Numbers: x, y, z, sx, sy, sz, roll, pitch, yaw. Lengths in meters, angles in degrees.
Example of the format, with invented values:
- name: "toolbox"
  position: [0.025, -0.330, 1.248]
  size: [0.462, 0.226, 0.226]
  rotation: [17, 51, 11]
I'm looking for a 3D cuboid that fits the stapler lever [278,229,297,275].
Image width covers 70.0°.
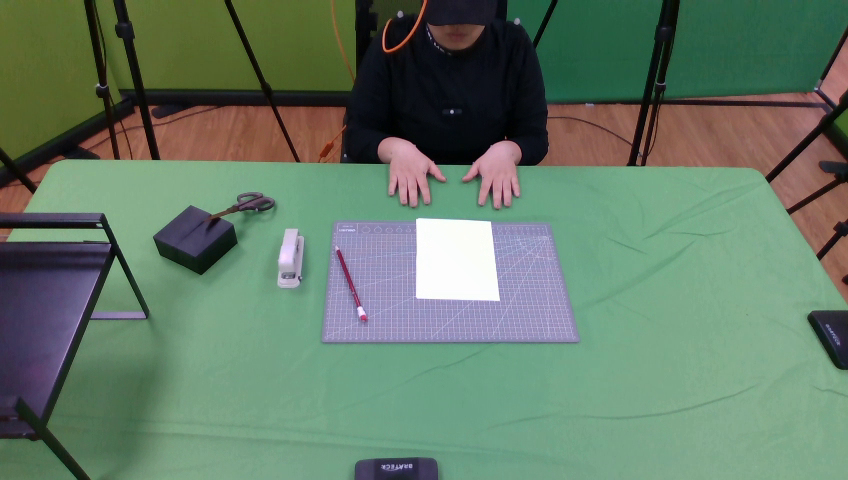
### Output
- name: "stapler lever"
  position: [-0.253, 0.015, 1.128]
  size: [0.027, 0.040, 0.117]
  rotation: [1, 45, -7]

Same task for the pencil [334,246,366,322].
- name: "pencil"
  position: [-0.140, 0.076, 1.117]
  size: [0.012, 0.012, 0.192]
  rotation: [-14, 48, -17]

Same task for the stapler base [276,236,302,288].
- name: "stapler base"
  position: [-0.254, 0.034, 1.144]
  size: [0.041, 0.024, 0.129]
  rotation: [1, 44, -7]

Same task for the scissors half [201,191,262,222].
- name: "scissors half"
  position: [-0.381, -0.066, 1.198]
  size: [0.040, 0.013, 0.175]
  rotation: [25, 28, 9]

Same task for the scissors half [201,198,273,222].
- name: "scissors half"
  position: [-0.365, -0.055, 1.192]
  size: [0.040, 0.013, 0.175]
  rotation: [39, 32, 22]
